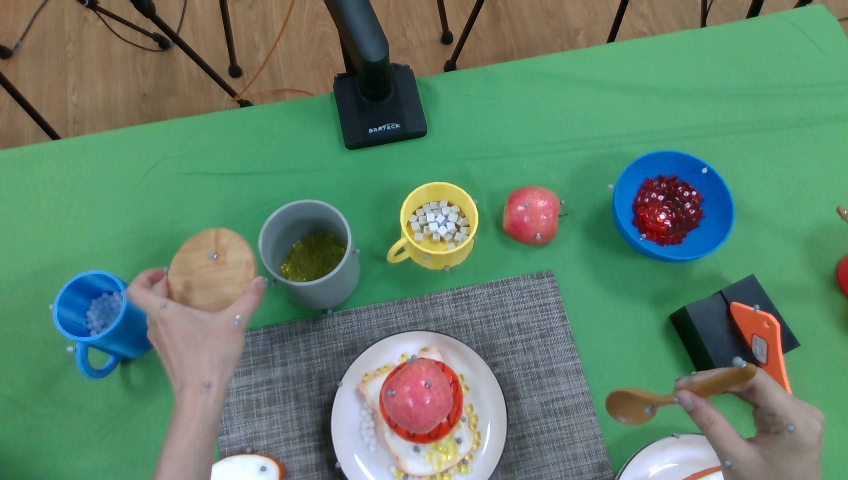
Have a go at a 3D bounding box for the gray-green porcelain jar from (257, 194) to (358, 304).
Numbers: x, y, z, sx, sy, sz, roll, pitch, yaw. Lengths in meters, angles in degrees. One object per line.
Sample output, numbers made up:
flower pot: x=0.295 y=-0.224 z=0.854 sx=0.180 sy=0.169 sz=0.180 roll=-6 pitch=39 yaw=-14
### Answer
gray-green porcelain jar: x=-0.136 y=0.017 z=0.738 sx=0.106 sy=0.127 sz=0.105 roll=0 pitch=70 yaw=-1

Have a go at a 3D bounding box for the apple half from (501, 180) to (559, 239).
apple half: x=0.143 y=-0.047 z=0.805 sx=0.074 sy=0.054 sz=0.080 roll=10 pitch=71 yaw=5

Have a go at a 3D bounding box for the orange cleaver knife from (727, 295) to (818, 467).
orange cleaver knife: x=0.412 y=0.166 z=0.720 sx=0.012 sy=0.077 sz=0.211 roll=-21 pitch=94 yaw=-15

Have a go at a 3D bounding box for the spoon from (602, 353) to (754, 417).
spoon: x=0.196 y=0.118 z=0.481 sx=0.041 sy=0.194 sz=0.021 roll=38 pitch=68 yaw=6

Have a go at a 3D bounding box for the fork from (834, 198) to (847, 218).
fork: x=0.547 y=0.003 z=0.746 sx=0.209 sy=0.018 sz=0.028 roll=34 pitch=67 yaw=-34

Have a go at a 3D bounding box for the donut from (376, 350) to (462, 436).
donut: x=-0.005 y=0.176 z=0.698 sx=0.099 sy=0.048 sz=0.098 roll=0 pitch=71 yaw=-1

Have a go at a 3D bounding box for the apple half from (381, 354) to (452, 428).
apple half: x=-0.008 y=0.164 z=0.664 sx=0.081 sy=0.033 sz=0.081 roll=-2 pitch=70 yaw=6

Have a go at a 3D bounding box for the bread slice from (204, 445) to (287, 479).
bread slice: x=-0.208 y=0.303 z=0.691 sx=0.105 sy=0.019 sz=0.130 roll=-4 pitch=72 yaw=-3

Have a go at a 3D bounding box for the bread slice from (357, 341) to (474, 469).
bread slice: x=-0.002 y=0.200 z=0.721 sx=0.107 sy=0.018 sz=0.133 roll=-27 pitch=73 yaw=-9

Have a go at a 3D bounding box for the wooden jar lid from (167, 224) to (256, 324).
wooden jar lid: x=-0.224 y=0.037 z=0.646 sx=0.108 sy=0.021 sz=0.108 roll=-4 pitch=76 yaw=19

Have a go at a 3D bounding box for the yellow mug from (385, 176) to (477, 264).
yellow mug: x=0.004 y=-0.017 z=0.785 sx=0.131 sy=0.064 sz=0.099 roll=-34 pitch=74 yaw=-11

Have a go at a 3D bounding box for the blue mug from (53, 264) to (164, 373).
blue mug: x=-0.374 y=0.098 z=0.715 sx=0.082 sy=0.106 sz=0.116 roll=9 pitch=71 yaw=2

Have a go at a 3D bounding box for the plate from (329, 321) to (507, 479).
plate: x=-0.007 y=0.202 z=0.719 sx=0.208 sy=0.039 sz=0.206 roll=0 pitch=71 yaw=-1

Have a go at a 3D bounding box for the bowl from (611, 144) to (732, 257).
bowl: x=0.310 y=-0.041 z=0.793 sx=0.151 sy=0.077 sz=0.150 roll=0 pitch=71 yaw=-1

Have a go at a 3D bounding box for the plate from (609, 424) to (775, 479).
plate: x=0.305 y=0.318 z=0.688 sx=0.209 sy=0.038 sz=0.207 roll=0 pitch=71 yaw=0
